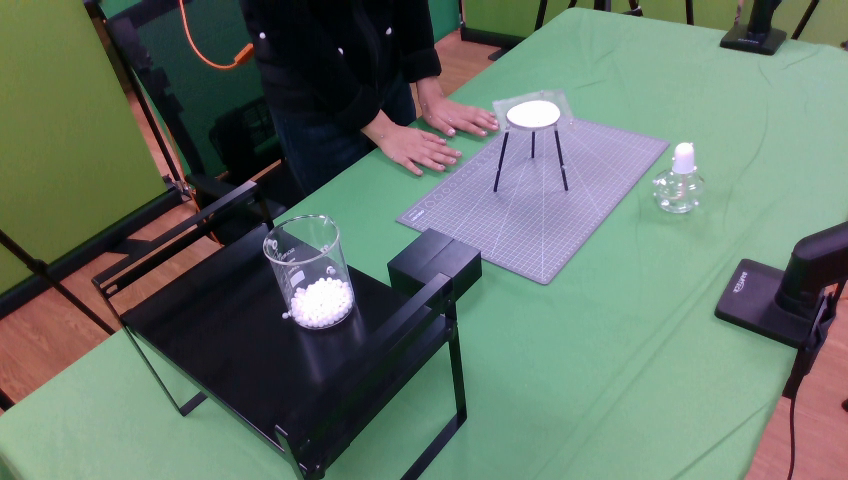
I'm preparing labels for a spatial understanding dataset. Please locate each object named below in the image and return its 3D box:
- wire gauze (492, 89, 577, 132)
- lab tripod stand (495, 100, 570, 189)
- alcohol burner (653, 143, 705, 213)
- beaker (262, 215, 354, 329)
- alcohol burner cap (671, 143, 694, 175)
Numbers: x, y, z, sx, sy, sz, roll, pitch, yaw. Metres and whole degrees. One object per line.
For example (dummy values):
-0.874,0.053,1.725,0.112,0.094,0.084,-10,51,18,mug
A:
0.181,-0.213,1.002,0.125,0.011,0.121,-5,41,3,wire gauze
0.186,-0.161,1.043,0.148,0.132,0.147,-4,43,5,lab tripod stand
0.408,-0.102,0.963,0.078,0.119,0.077,-5,42,5,alcohol burner
-0.112,0.034,0.616,0.073,0.101,0.084,13,44,23,beaker
0.403,-0.129,0.941,0.034,0.048,0.033,-9,40,8,alcohol burner cap
